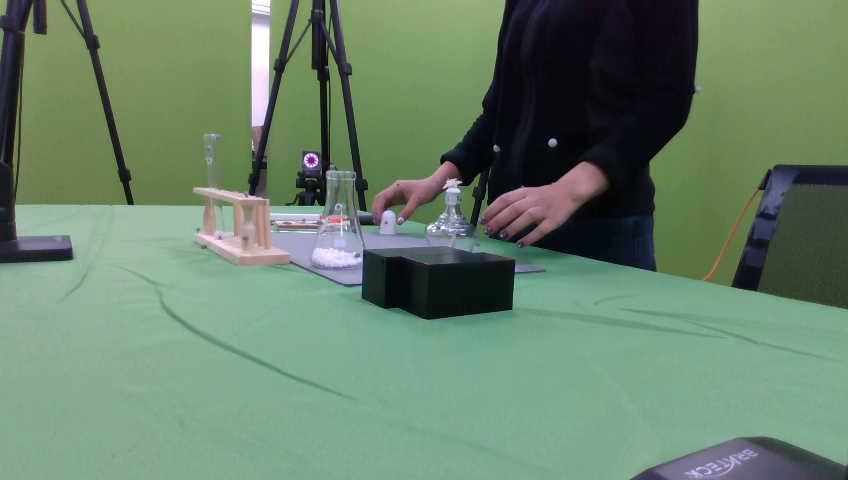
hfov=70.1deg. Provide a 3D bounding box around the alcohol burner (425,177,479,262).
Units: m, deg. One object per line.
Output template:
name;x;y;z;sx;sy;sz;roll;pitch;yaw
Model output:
alcohol burner;0.040;-0.029;0.853;0.078;0.119;0.078;2;9;0

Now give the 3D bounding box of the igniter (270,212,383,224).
igniter;-0.213;-0.048;1.278;0.278;0.025;0.057;-1;-2;-25

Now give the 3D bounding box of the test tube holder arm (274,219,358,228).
test tube holder arm;-0.206;-0.032;1.176;0.179;0.015;0.013;-4;46;-40

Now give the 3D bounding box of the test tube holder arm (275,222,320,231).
test tube holder arm;-0.238;-0.026;1.145;0.088;0.015;0.010;-3;45;-39

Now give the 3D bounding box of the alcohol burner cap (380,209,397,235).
alcohol burner cap;-0.067;-0.034;1.145;0.034;0.048;0.034;4;7;0

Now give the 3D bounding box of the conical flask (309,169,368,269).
conical flask;-0.106;-0.028;0.762;0.075;0.122;0.075;2;7;0

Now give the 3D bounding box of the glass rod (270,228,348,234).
glass rod;-0.234;-0.017;1.105;0.201;0.008;0.008;2;6;-26

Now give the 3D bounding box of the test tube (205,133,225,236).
test tube;-0.305;-0.079;0.883;0.017;0.150;0.017;-2;11;1

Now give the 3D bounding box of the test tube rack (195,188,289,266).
test tube rack;-0.266;-0.025;0.864;0.067;0.085;0.241;-2;8;-33
